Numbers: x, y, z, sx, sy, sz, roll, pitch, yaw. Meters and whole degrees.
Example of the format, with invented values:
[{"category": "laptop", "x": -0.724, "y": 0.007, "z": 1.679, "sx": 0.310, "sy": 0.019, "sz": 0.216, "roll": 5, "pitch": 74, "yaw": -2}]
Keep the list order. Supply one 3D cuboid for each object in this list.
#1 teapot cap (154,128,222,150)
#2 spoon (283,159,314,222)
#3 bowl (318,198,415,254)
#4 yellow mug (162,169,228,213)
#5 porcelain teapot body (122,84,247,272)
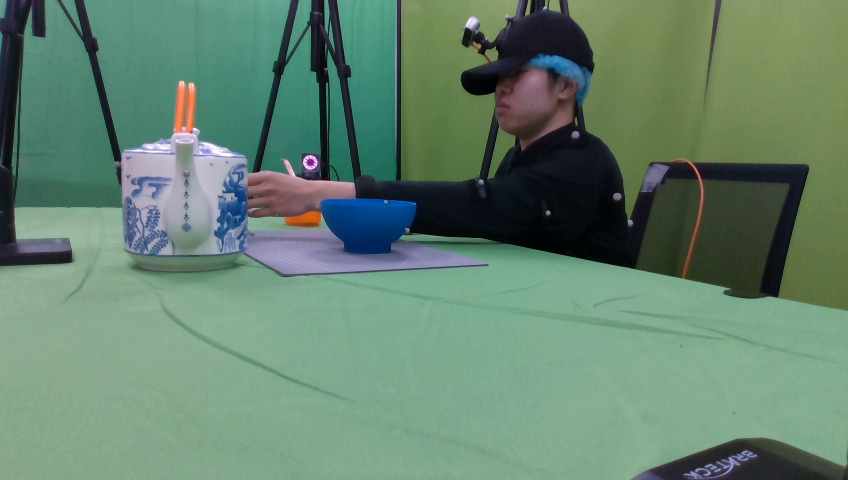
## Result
[{"category": "teapot cap", "x": -0.294, "y": -0.117, "z": 0.754, "sx": 0.085, "sy": 0.044, "sz": 0.085, "roll": 4, "pitch": 9, "yaw": 0}, {"category": "spoon", "x": -0.280, "y": -0.110, "z": 1.323, "sx": 0.042, "sy": 0.193, "sz": 0.021, "roll": 1, "pitch": -38, "yaw": -35}, {"category": "bowl", "x": -0.089, "y": -0.022, "z": 0.941, "sx": 0.151, "sy": 0.077, "sz": 0.151, "roll": 2, "pitch": 7, "yaw": 0}, {"category": "yellow mug", "x": -0.366, "y": -0.082, "z": 0.995, "sx": 0.100, "sy": 0.064, "sz": 0.131, "roll": 5, "pitch": 7, "yaw": 16}, {"category": "porcelain teapot body", "x": -0.286, "y": -0.075, "z": 0.733, "sx": 0.146, "sy": 0.225, "sz": 0.204, "roll": 0, "pitch": 8, "yaw": -24}]
